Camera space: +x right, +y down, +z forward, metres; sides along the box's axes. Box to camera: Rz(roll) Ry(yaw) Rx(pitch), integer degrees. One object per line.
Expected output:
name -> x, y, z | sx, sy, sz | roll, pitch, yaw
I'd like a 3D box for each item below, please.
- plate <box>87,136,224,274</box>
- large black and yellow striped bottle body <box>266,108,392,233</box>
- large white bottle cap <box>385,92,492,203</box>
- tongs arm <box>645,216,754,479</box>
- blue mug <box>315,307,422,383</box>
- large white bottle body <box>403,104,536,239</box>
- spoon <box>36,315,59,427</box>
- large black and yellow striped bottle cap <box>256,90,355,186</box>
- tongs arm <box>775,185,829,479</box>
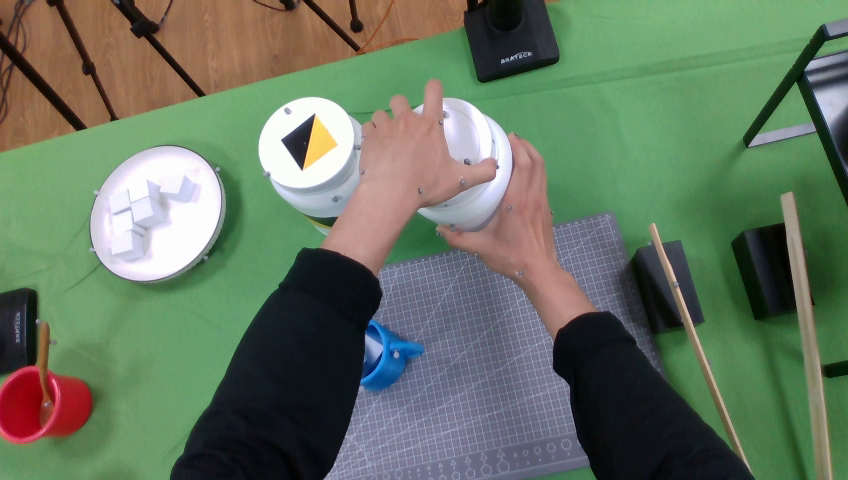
plate -> -0.386, -0.049, 0.885 | 0.207, 0.039, 0.206 | -2, 75, 9
large black and yellow striped bottle body -> -0.122, -0.093, 0.775 | 0.130, 0.185, 0.130 | -3, 74, 9
large white bottle cap -> 0.013, -0.095, 0.619 | 0.114, 0.018, 0.114 | -5, 78, 23
tongs arm -> 0.333, 0.149, 0.673 | 0.051, 0.026, 0.383 | -17, 85, 2
blue mug -> -0.061, 0.130, 0.743 | 0.116, 0.106, 0.082 | -6, 73, 8
large white bottle body -> 0.047, -0.080, 0.699 | 0.130, 0.186, 0.130 | -5, 78, 22
spoon -> -0.493, 0.173, 0.786 | 0.041, 0.021, 0.195 | 33, 126, 20
large black and yellow striped bottle cap -> -0.136, -0.118, 0.696 | 0.115, 0.019, 0.114 | -2, 75, 8
tongs arm -> 0.413, 0.131, 0.667 | 0.028, 0.028, 0.386 | -4, 86, 0
